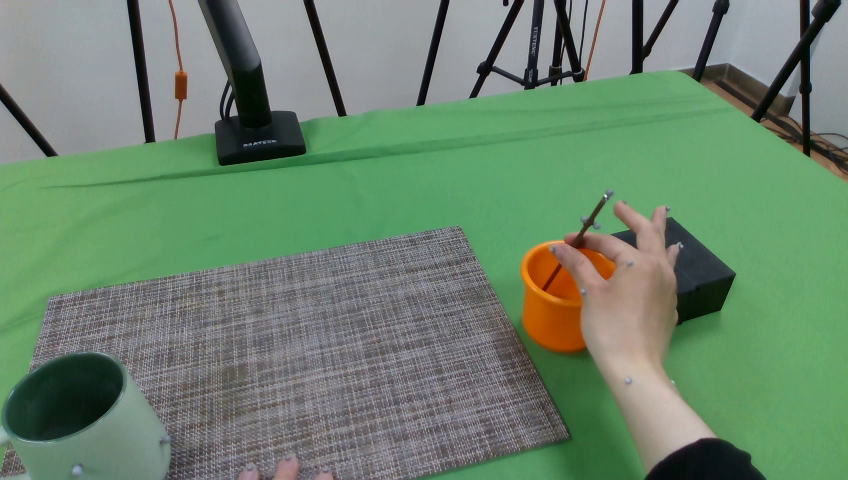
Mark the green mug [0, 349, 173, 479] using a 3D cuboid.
[{"bbox_3d":[-0.257,0.148,0.439,0.125,0.106,0.091,-18,43,-20],"label":"green mug"}]

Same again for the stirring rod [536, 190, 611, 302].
[{"bbox_3d":[0.131,0.012,0.548,0.006,0.177,0.014,28,57,8],"label":"stirring rod"}]
